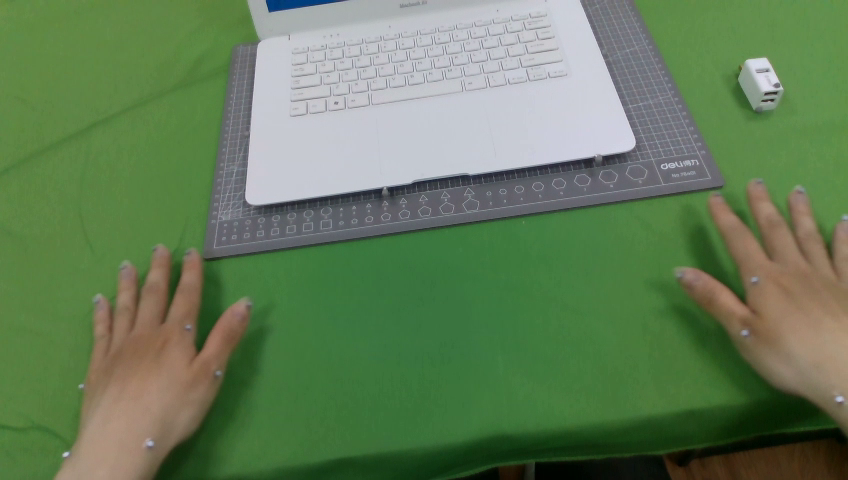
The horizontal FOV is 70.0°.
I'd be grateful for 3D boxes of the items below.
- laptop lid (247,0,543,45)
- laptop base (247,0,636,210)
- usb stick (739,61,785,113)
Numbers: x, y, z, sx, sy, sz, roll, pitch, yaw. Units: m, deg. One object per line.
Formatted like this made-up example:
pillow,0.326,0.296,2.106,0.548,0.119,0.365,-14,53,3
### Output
laptop lid,-0.023,-0.331,0.602,0.357,0.244,0.013,-9,37,2
laptop base,0.004,-0.142,0.605,0.354,0.023,0.233,-8,57,1
usb stick,0.312,-0.147,0.565,0.021,0.027,0.058,-6,51,4
